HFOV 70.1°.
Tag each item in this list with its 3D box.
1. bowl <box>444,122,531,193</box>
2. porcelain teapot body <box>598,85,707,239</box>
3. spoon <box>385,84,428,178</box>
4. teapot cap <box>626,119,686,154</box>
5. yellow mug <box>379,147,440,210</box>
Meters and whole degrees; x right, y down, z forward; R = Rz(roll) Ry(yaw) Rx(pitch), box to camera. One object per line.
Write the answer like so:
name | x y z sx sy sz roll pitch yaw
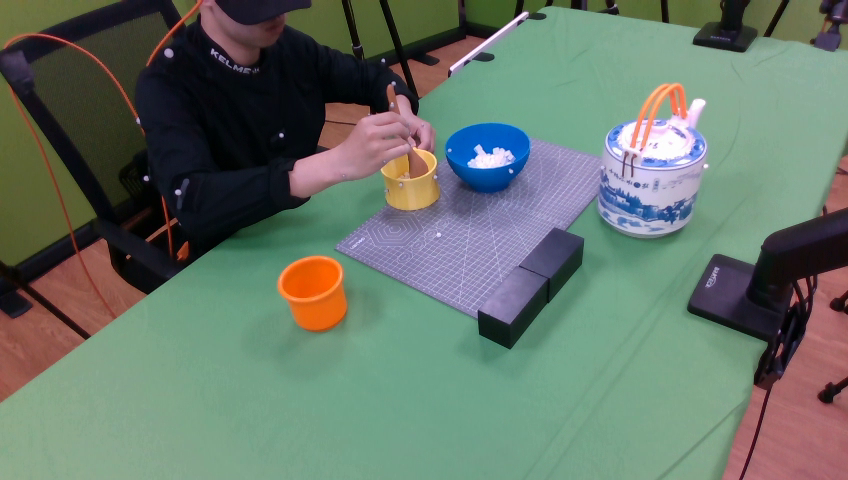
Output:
bowl | 0.113 -0.136 1.063 0.151 0.077 0.150 -4 41 4
porcelain teapot body | 0.362 -0.137 0.921 0.144 0.226 0.206 29 51 36
spoon | -0.031 -0.163 0.976 0.042 0.195 0.021 -38 39 -19
teapot cap | 0.338 -0.153 0.882 0.085 0.044 0.085 -3 38 3
yellow mug | -0.023 -0.117 1.071 0.100 0.064 0.130 0 40 8
